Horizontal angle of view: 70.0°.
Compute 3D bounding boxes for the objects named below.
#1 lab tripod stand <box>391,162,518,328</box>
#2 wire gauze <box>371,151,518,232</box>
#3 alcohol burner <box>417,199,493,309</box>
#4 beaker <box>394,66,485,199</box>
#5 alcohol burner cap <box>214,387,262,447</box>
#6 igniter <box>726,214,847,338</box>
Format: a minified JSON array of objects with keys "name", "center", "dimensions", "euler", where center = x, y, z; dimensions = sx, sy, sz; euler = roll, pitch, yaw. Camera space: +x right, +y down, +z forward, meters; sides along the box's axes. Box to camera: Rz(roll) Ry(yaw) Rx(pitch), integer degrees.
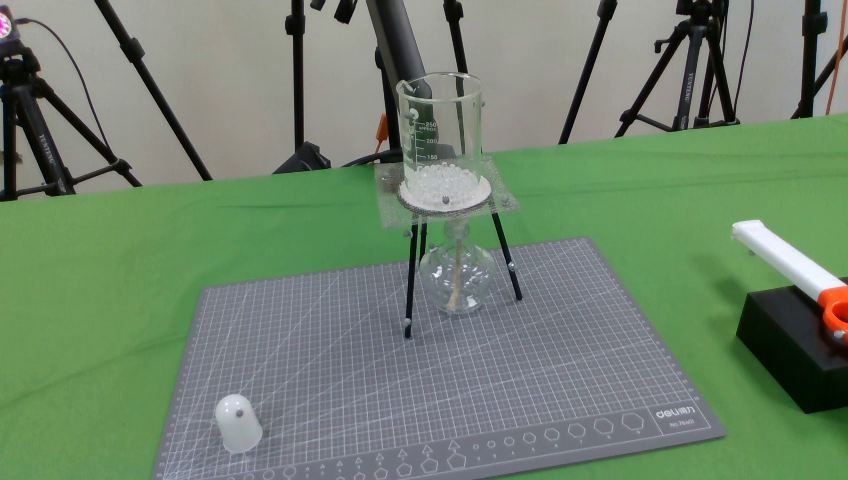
[{"name":"lab tripod stand","center":[0.022,0.000,0.601],"dimensions":[0.148,0.132,0.147],"euler":[-1,32,1]},{"name":"wire gauze","center":[0.014,-0.053,0.561],"dimensions":[0.121,0.011,0.123],"euler":[-7,36,-5]},{"name":"alcohol burner","center":[0.031,0.009,0.603],"dimensions":[0.078,0.120,0.077],"euler":[-1,35,1]},{"name":"beaker","center":[0.011,-0.094,0.535],"dimensions":[0.074,0.101,0.083],"euler":[-28,41,-33]},{"name":"alcohol burner cap","center":[-0.152,0.140,0.490],"dimensions":[0.034,0.048,0.033],"euler":[-2,34,2]},{"name":"igniter","center":[0.350,0.048,0.513],"dimensions":[0.057,0.025,0.273],"euler":[-9,31,-6]}]
